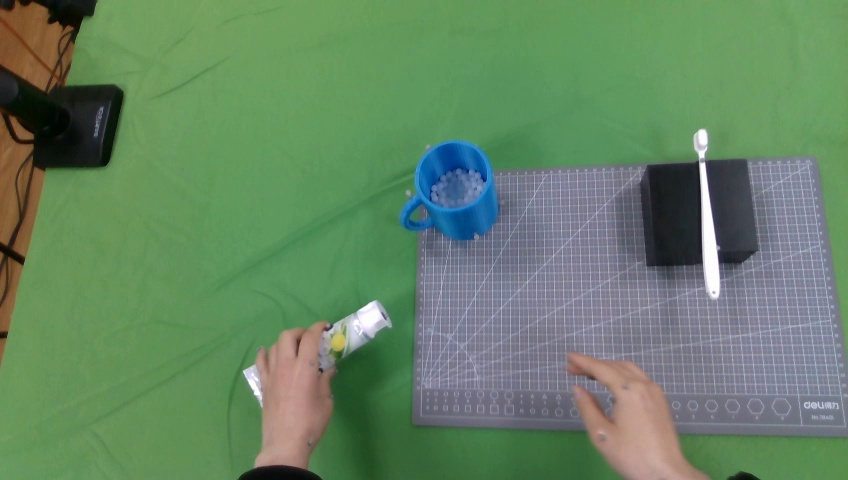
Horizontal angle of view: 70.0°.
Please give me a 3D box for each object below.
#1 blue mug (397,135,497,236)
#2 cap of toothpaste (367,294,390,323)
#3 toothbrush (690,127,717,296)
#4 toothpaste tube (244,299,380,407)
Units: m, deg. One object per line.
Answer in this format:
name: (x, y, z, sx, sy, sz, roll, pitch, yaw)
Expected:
blue mug: (0.023, -0.050, 0.679, 0.116, 0.106, 0.082, -28, 72, 2)
cap of toothpaste: (-0.050, 0.076, 0.659, 0.011, 0.037, 0.037, -32, 72, 2)
toothbrush: (0.289, -0.032, 0.623, 0.014, 0.017, 0.181, 1, 76, 4)
toothpaste tube: (-0.118, 0.116, 0.663, 0.165, 0.035, 0.055, -32, 75, 1)
